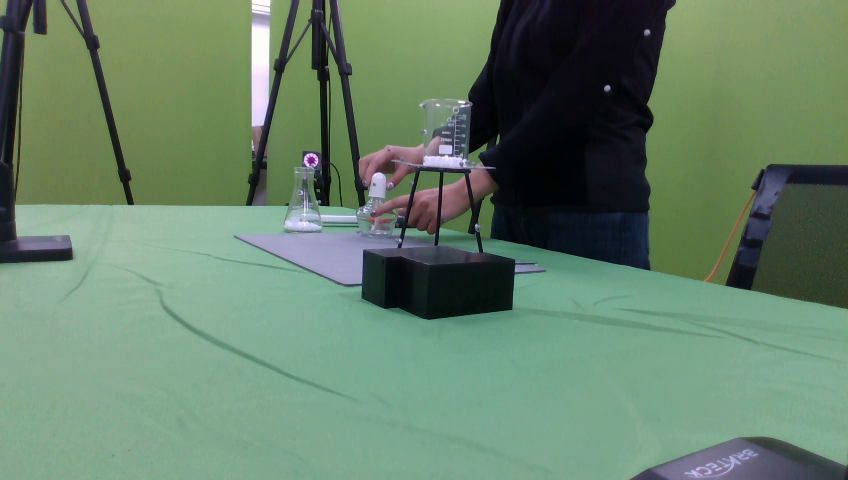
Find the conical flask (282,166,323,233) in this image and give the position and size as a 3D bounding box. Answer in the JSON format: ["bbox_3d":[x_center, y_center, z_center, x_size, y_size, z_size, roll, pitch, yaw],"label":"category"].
[{"bbox_3d":[-0.225,-0.076,1.129,0.075,0.122,0.075,2,8,0],"label":"conical flask"}]

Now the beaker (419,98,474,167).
[{"bbox_3d":[0.032,-0.161,0.913,0.084,0.100,0.074,1,7,-10],"label":"beaker"}]

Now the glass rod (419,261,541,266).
[{"bbox_3d":[0.080,0.031,0.807,0.201,0.008,0.008,1,6,-32],"label":"glass rod"}]

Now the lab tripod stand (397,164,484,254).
[{"bbox_3d":[0.029,-0.049,0.930,0.148,0.131,0.148,4,7,0],"label":"lab tripod stand"}]

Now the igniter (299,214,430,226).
[{"bbox_3d":[-0.123,-0.044,1.281,0.278,0.025,0.057,0,-2,-19],"label":"igniter"}]

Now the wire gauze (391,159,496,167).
[{"bbox_3d":[0.032,-0.114,0.923,0.124,0.011,0.122,5,5,32],"label":"wire gauze"}]

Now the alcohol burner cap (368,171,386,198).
[{"bbox_3d":[-0.083,-0.100,1.088,0.034,0.048,0.034,5,3,0],"label":"alcohol burner cap"}]

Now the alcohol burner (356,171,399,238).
[{"bbox_3d":[-0.084,-0.064,1.092,0.078,0.119,0.078,2,10,0],"label":"alcohol burner"}]
